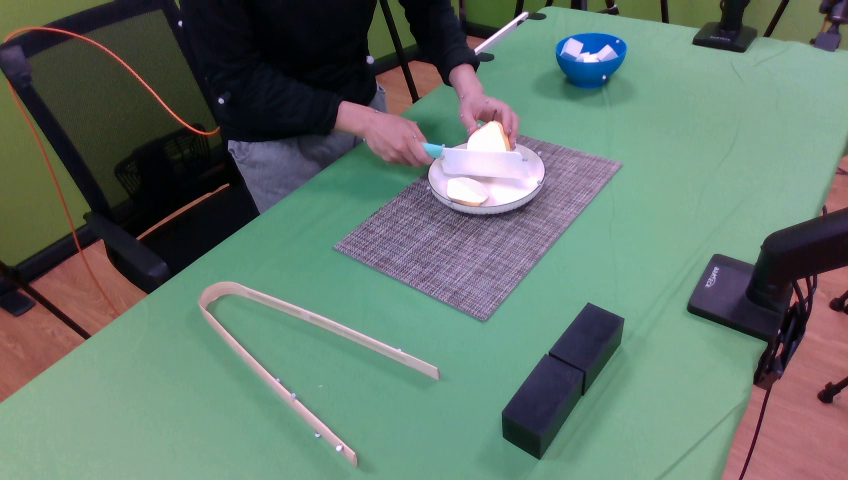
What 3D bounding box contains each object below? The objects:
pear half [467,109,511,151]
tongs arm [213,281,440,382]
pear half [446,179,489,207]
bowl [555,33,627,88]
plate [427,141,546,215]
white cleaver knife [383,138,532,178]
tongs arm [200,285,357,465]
[{"bbox_3d":[0.118,-0.173,1.043,0.076,0.110,0.056,19,26,14],"label":"pear half"},{"bbox_3d":[-0.147,0.121,0.846,0.385,0.028,0.028,17,48,26],"label":"tongs arm"},{"bbox_3d":[0.068,-0.074,1.017,0.070,0.031,0.088,33,38,33],"label":"pear half"},{"bbox_3d":[0.360,-0.384,1.318,0.151,0.077,0.150,-4,41,4],"label":"bowl"},{"bbox_3d":[0.109,-0.107,1.059,0.207,0.039,0.206,-4,41,4],"label":"plate"},{"bbox_3d":[0.048,-0.138,1.044,0.284,0.066,0.021,11,51,30],"label":"white cleaver knife"},{"bbox_3d":[-0.199,0.162,0.797,0.381,0.026,0.051,28,50,35],"label":"tongs arm"}]
